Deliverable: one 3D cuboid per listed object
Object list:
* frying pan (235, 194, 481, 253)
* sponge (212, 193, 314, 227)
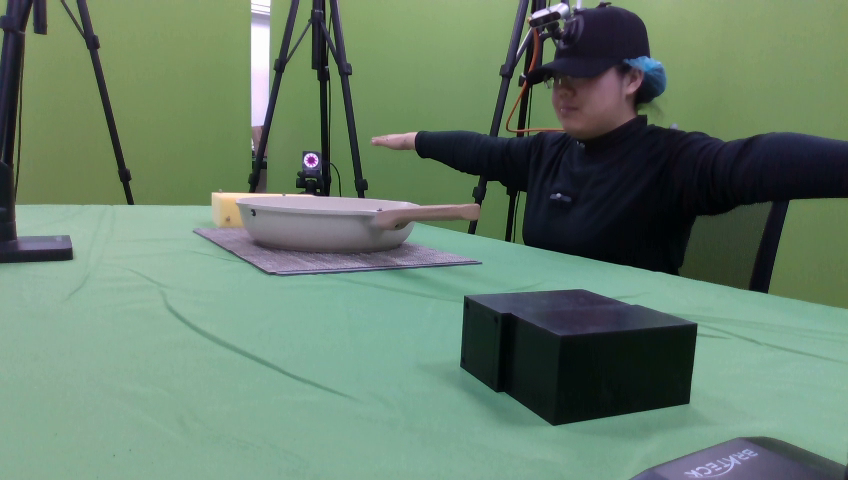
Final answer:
[{"bbox_3d":[-0.089,-0.034,0.891,0.308,0.102,0.485,-4,2,-36],"label":"frying pan"},{"bbox_3d":[-0.317,-0.063,1.233,0.208,0.061,0.117,-2,8,-27],"label":"sponge"}]
